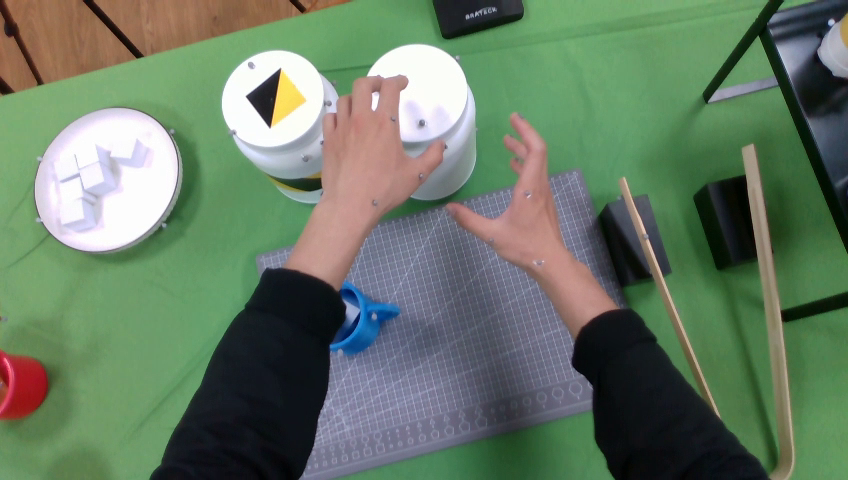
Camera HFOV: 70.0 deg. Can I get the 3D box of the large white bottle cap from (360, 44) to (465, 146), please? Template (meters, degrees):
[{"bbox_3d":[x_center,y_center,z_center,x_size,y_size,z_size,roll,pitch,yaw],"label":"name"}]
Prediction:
[{"bbox_3d":[-0.012,-0.158,0.656,0.115,0.018,0.114,-1,77,4],"label":"large white bottle cap"}]

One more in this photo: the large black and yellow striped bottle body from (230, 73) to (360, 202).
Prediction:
[{"bbox_3d":[-0.159,-0.133,0.750,0.130,0.185,0.130,-1,77,5],"label":"large black and yellow striped bottle body"}]

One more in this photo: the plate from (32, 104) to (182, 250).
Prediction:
[{"bbox_3d":[-0.431,-0.084,0.837,0.207,0.039,0.206,-1,77,5],"label":"plate"}]

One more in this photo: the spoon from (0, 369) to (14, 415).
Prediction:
[{"bbox_3d":[-0.522,0.144,0.739,0.041,0.021,0.195,30,125,14],"label":"spoon"}]

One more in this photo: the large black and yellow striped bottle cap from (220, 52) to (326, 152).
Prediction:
[{"bbox_3d":[-0.167,-0.154,0.669,0.115,0.019,0.114,-1,78,3],"label":"large black and yellow striped bottle cap"}]

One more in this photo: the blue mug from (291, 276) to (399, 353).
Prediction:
[{"bbox_3d":[-0.089,0.090,0.732,0.116,0.106,0.082,-8,76,3],"label":"blue mug"}]

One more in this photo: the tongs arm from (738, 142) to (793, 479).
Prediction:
[{"bbox_3d":[0.390,0.080,0.699,0.028,0.028,0.387,-5,88,-5],"label":"tongs arm"}]

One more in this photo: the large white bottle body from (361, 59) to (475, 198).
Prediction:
[{"bbox_3d":[-0.004,-0.137,0.738,0.130,0.185,0.130,-1,77,5],"label":"large white bottle body"}]

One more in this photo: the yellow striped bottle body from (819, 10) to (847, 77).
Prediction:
[{"bbox_3d":[0.432,-0.208,0.564,0.063,0.121,0.062,-1,77,5],"label":"yellow striped bottle body"}]

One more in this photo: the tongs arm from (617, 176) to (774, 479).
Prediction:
[{"bbox_3d":[0.311,0.100,0.699,0.051,0.026,0.384,-19,88,-3],"label":"tongs arm"}]

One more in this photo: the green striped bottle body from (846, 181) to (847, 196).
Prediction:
[{"bbox_3d":[0.437,-0.060,0.532,0.063,0.120,0.063,-1,77,5],"label":"green striped bottle body"}]
